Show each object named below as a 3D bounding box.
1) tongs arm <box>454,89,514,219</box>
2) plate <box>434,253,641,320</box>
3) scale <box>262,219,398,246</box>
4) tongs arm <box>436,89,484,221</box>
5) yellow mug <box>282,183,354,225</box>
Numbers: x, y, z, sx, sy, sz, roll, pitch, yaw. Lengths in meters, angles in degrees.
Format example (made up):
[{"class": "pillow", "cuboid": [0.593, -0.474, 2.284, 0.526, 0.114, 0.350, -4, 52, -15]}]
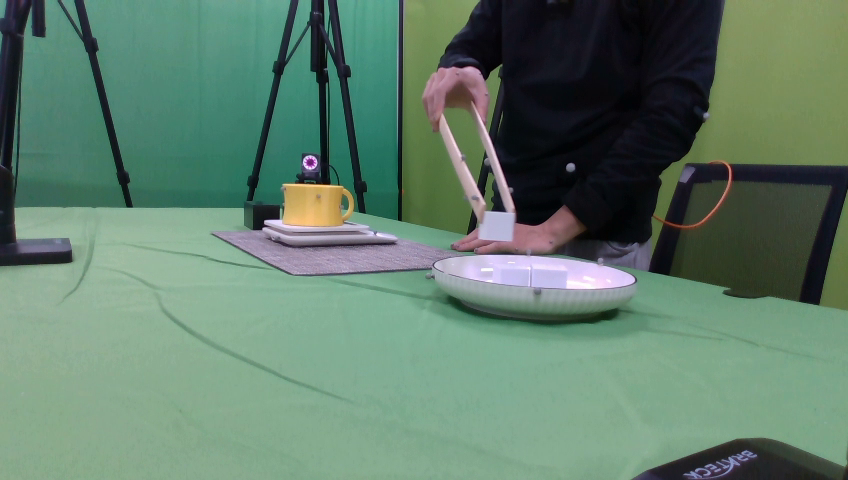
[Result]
[{"class": "tongs arm", "cuboid": [0.077, -0.131, 0.811, 0.028, 0.028, 0.386, -6, 32, -2]}, {"class": "plate", "cuboid": [0.114, 0.047, 0.626, 0.208, 0.039, 0.207, 2, 7, 0]}, {"class": "scale", "cuboid": [-0.160, -0.016, 1.028, 0.202, 0.031, 0.148, -2, 9, -31]}, {"class": "tongs arm", "cuboid": [0.054, -0.130, 0.810, 0.051, 0.026, 0.383, -5, 32, -7]}, {"class": "yellow mug", "cuboid": [-0.172, -0.061, 1.009, 0.131, 0.064, 0.099, -2, 7, -42]}]
